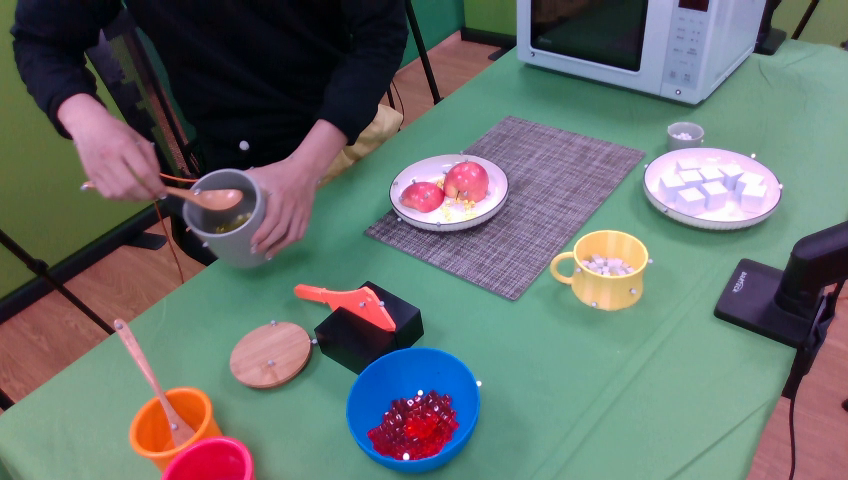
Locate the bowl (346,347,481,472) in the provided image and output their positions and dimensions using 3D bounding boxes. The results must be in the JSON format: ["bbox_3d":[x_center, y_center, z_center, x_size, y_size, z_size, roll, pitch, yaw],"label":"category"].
[{"bbox_3d":[-0.008,0.205,0.691,0.151,0.077,0.150,-4,40,4],"label":"bowl"}]

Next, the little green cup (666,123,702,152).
[{"bbox_3d":[0.472,-0.183,1.102,0.061,0.039,0.061,-5,41,5],"label":"little green cup"}]

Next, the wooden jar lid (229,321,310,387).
[{"bbox_3d":[-0.207,0.156,0.820,0.108,0.021,0.108,-3,39,3],"label":"wooden jar lid"}]

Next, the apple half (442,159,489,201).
[{"bbox_3d":[0.074,-0.110,1.047,0.080,0.053,0.075,21,45,30],"label":"apple half"}]

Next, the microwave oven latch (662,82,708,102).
[{"bbox_3d":[0.518,-0.299,1.203,0.078,0.029,0.030,29,53,35],"label":"microwave oven latch"}]

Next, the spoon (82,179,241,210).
[{"bbox_3d":[-0.340,-0.065,0.789,0.195,0.021,0.041,9,44,-14],"label":"spoon"}]

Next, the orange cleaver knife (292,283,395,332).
[{"bbox_3d":[-0.115,0.092,0.835,0.209,0.077,0.012,1,32,48],"label":"orange cleaver knife"}]

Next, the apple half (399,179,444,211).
[{"bbox_3d":[-0.004,-0.087,1.046,0.081,0.033,0.081,-2,43,2],"label":"apple half"}]

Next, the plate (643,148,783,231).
[{"bbox_3d":[0.464,-0.080,0.986,0.207,0.039,0.206,-4,40,4],"label":"plate"}]

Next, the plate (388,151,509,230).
[{"bbox_3d":[0.043,-0.082,1.042,0.209,0.038,0.208,-4,40,4],"label":"plate"}]

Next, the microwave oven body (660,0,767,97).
[{"bbox_3d":[0.473,-0.517,1.314,0.438,0.261,0.327,26,51,34],"label":"microwave oven body"}]

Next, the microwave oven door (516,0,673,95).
[{"bbox_3d":[0.344,-0.458,1.256,0.353,0.245,0.039,26,51,33],"label":"microwave oven door"}]

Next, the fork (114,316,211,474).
[{"bbox_3d":[-0.309,0.179,0.708,0.028,0.018,0.207,-30,89,-24],"label":"fork"}]

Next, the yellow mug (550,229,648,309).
[{"bbox_3d":[0.245,0.040,0.857,0.130,0.064,0.099,1,42,11],"label":"yellow mug"}]

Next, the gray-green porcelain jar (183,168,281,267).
[{"bbox_3d":[-0.269,-0.026,0.871,0.106,0.127,0.105,-1,65,3],"label":"gray-green porcelain jar"}]
